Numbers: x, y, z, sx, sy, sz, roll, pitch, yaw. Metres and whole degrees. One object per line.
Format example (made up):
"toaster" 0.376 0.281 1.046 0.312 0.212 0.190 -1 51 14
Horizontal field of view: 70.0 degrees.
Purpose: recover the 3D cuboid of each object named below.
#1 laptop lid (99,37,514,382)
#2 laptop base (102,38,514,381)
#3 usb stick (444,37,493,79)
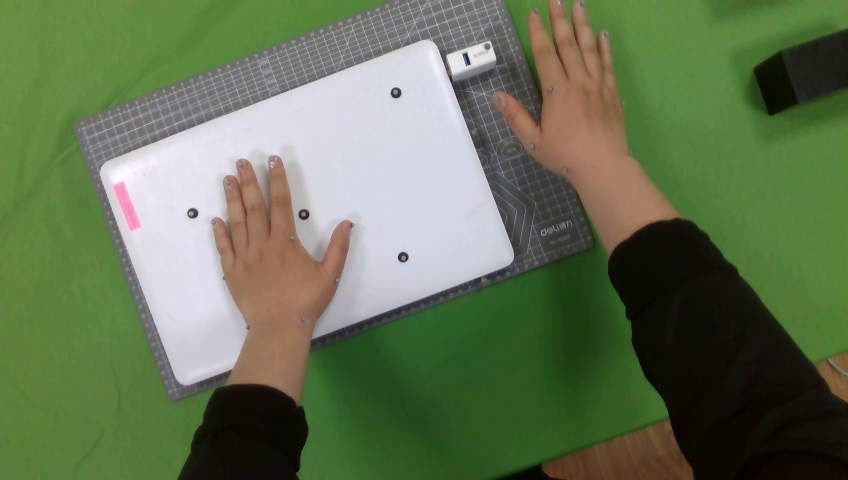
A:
"laptop lid" -0.115 -0.028 0.586 0.357 0.013 0.241 -19 90 2
"laptop base" -0.115 -0.029 0.598 0.354 0.023 0.235 -21 91 2
"usb stick" 0.036 -0.172 0.581 0.059 0.027 0.021 -18 83 4
